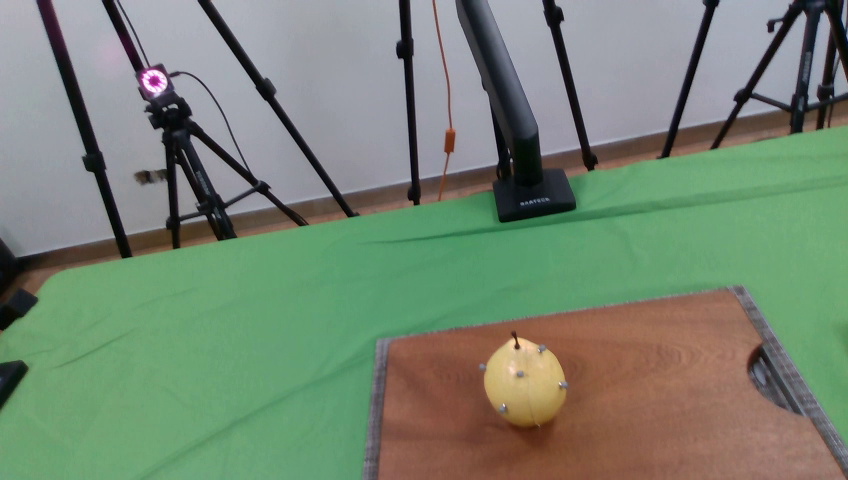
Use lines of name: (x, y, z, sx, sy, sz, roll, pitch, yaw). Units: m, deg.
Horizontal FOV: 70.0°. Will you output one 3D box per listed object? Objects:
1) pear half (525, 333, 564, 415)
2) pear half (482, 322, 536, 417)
pear half: (0.117, 0.125, 0.580, 0.031, 0.089, 0.070, -6, 31, 15)
pear half: (0.081, 0.119, 0.584, 0.056, 0.111, 0.076, -5, 33, 16)
